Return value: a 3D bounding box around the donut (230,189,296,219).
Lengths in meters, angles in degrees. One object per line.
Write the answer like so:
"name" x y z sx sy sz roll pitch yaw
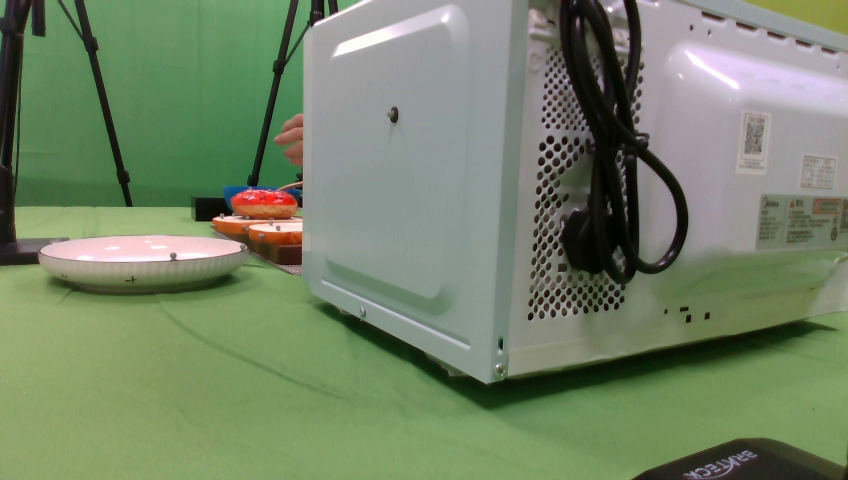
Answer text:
"donut" -0.250 -0.055 0.941 0.099 0.048 0.099 3 7 0

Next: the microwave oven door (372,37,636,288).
"microwave oven door" 0.110 -0.080 0.686 0.358 0.243 0.039 -2 9 -33

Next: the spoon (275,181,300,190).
"spoon" -0.301 -0.101 1.260 0.041 0.021 0.194 13 30 33

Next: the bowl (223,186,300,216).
"bowl" -0.330 -0.068 1.230 0.151 0.077 0.151 3 7 0

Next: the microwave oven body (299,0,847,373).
"microwave oven body" 0.151 -0.055 0.542 0.444 0.260 0.324 -2 7 -33

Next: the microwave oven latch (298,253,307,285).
"microwave oven latch" -0.081 0.027 0.582 0.079 0.029 0.030 -1 7 -32

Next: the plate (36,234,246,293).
"plate" -0.305 0.026 0.668 0.208 0.039 0.207 2 7 0

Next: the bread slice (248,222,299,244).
"bread slice" -0.173 -0.012 0.844 0.135 0.018 0.106 -6 10 -44

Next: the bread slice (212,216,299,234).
"bread slice" -0.256 -0.026 0.936 0.132 0.019 0.104 -5 9 -40
